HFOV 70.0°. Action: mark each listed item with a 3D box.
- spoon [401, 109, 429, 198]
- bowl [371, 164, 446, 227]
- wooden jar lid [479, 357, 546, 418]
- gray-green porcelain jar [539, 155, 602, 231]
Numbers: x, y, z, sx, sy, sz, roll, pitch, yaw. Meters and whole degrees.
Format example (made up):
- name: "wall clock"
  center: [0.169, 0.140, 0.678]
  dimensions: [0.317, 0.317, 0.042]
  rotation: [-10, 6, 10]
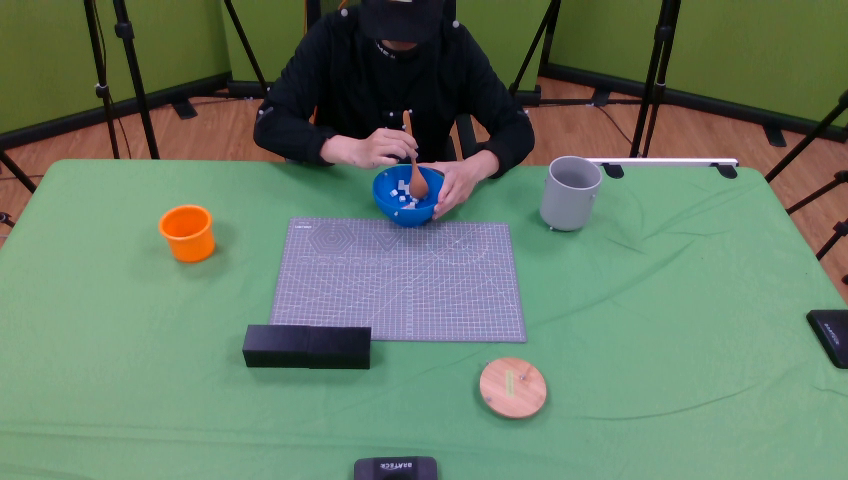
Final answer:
- name: "spoon"
  center: [-0.024, -0.166, 1.192]
  dimensions: [0.041, 0.194, 0.021]
  rotation: [-11, 30, 2]
- name: "bowl"
  center: [-0.033, -0.080, 1.230]
  dimensions: [0.151, 0.077, 0.150]
  rotation: [3, 43, -2]
- name: "wooden jar lid"
  center: [0.142, 0.240, 0.979]
  dimensions: [0.108, 0.021, 0.107]
  rotation: [1, 46, -1]
- name: "gray-green porcelain jar"
  center: [0.294, -0.091, 1.235]
  dimensions: [0.106, 0.127, 0.105]
  rotation: [2, 46, -2]
